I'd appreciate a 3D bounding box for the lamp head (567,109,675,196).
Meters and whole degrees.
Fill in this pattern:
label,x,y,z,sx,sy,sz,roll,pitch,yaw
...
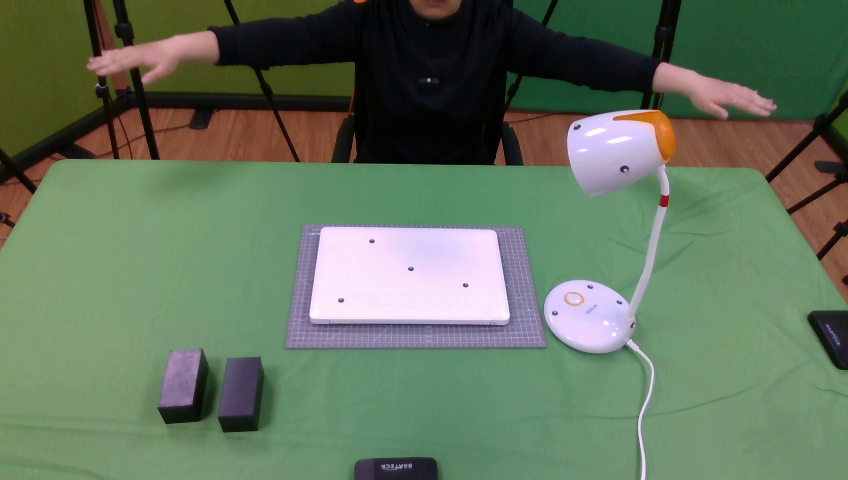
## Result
label,x,y,z,sx,sy,sz,roll,pitch,yaw
lamp head,0.272,-0.123,0.818,0.122,0.113,0.112,-9,35,37

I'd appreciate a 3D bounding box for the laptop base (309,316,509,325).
label,x,y,z,sx,sy,sz,roll,pitch,yaw
laptop base,-0.028,0.066,1.134,0.355,0.023,0.234,1,43,-4

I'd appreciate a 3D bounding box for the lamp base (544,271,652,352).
label,x,y,z,sx,sy,sz,roll,pitch,yaw
lamp base,0.309,0.086,1.029,0.178,0.181,0.160,32,52,21

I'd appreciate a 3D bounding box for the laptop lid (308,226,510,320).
label,x,y,z,sx,sy,sz,roll,pitch,yaw
laptop lid,-0.027,0.056,1.127,0.357,0.013,0.240,2,44,-3
